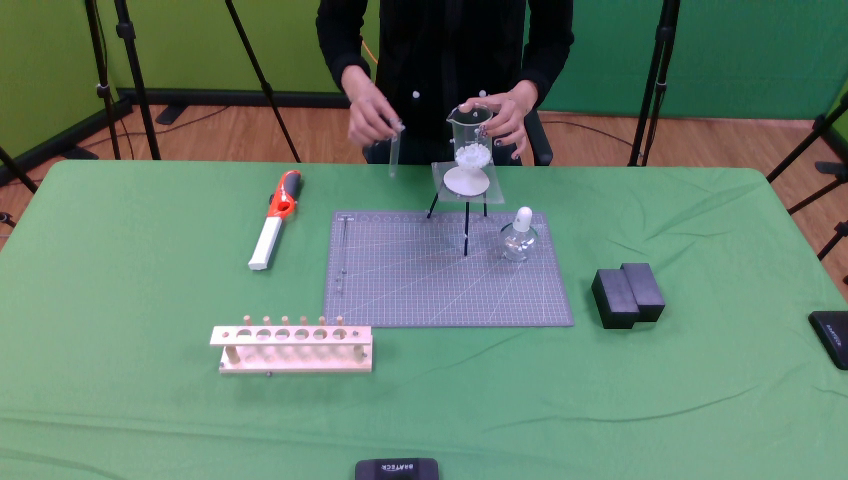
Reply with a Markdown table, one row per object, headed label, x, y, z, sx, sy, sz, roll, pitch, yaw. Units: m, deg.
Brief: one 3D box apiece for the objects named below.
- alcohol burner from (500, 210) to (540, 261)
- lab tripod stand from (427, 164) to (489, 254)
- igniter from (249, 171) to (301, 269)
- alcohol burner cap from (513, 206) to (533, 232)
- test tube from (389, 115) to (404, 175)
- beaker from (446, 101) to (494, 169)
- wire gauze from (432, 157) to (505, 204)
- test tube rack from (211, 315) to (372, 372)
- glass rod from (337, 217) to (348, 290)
| label | x | y | z | sx | sy | sz | roll | pitch | yaw |
| --- | --- | --- | --- | --- | --- | --- | --- | --- | --- |
| alcohol burner | 0.185 | -0.016 | 1.159 | 0.078 | 0.120 | 0.077 | 2 | 48 | -2 |
| lab tripod stand | 0.078 | -0.068 | 1.188 | 0.148 | 0.132 | 0.147 | 3 | 47 | -3 |
| igniter | -0.297 | -0.049 | 1.220 | 0.057 | 0.025 | 0.275 | -1 | 45 | 9 |
| alcohol burner cap | 0.186 | -0.042 | 1.134 | 0.034 | 0.048 | 0.033 | 6 | 41 | -5 |
| test tube | -0.052 | -0.170 | 1.108 | 0.017 | 0.151 | 0.017 | 4 | 56 | -6 |
| beaker | 0.084 | -0.186 | 1.088 | 0.084 | 0.101 | 0.073 | -6 | 43 | 0 |
| wire gauze | 0.081 | -0.112 | 1.137 | 0.125 | 0.011 | 0.120 | -2 | 48 | -6 |
| test tube rack | -0.208 | 0.163 | 0.982 | 0.242 | 0.085 | 0.066 | 1 | 46 | -4 |
| glass rod | -0.158 | 0.022 | 1.171 | 0.008 | 0.008 | 0.198 | 1 | 43 | -2 |
